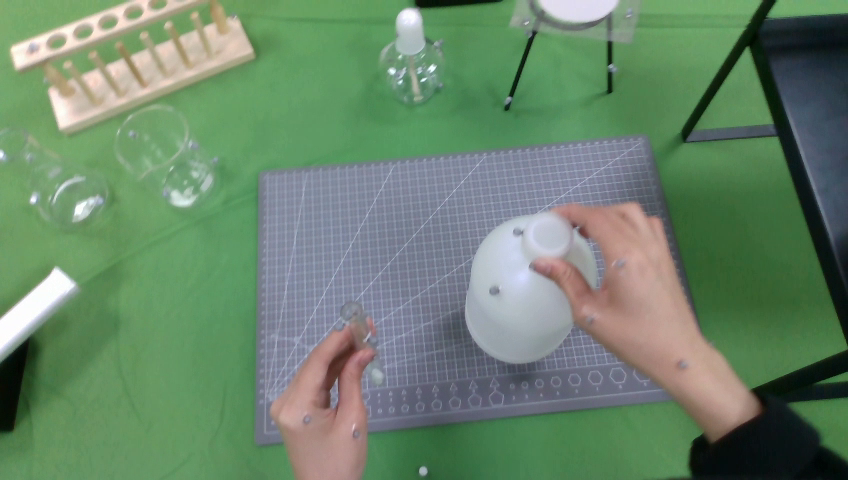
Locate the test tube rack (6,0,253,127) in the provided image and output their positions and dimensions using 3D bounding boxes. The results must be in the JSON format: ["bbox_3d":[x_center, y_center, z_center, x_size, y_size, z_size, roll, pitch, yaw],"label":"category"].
[{"bbox_3d":[-0.337,-0.227,0.712,0.242,0.086,0.066,-25,69,-9],"label":"test tube rack"}]

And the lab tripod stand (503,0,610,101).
[{"bbox_3d":[0.152,-0.233,0.679,0.148,0.132,0.147,0,67,0],"label":"lab tripod stand"}]

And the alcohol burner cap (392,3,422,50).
[{"bbox_3d":[-0.020,-0.233,0.654,0.034,0.048,0.033,0,66,1],"label":"alcohol burner cap"}]

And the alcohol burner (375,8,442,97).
[{"bbox_3d":[-0.018,-0.218,0.688,0.078,0.120,0.077,0,66,0],"label":"alcohol burner"}]

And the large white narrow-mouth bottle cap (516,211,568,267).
[{"bbox_3d":[0.084,0.000,0.434,0.038,0.024,0.037,0,68,0],"label":"large white narrow-mouth bottle cap"}]

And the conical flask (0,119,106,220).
[{"bbox_3d":[-0.397,-0.077,0.632,0.075,0.123,0.075,0,67,2],"label":"conical flask"}]

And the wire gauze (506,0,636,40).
[{"bbox_3d":[0.157,-0.261,0.617,0.121,0.011,0.124,15,70,5],"label":"wire gauze"}]

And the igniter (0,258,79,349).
[{"bbox_3d":[-0.439,0.124,0.553,0.057,0.025,0.276,37,70,13],"label":"igniter"}]

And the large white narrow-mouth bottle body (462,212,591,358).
[{"bbox_3d":[0.086,0.033,0.513,0.102,0.196,0.101,0,67,1],"label":"large white narrow-mouth bottle body"}]

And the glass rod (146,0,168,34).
[{"bbox_3d":[-0.319,-0.288,0.664,0.008,0.201,0.008,-3,62,7],"label":"glass rod"}]

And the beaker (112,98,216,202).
[{"bbox_3d":[-0.272,-0.089,0.647,0.074,0.101,0.083,9,68,5],"label":"beaker"}]

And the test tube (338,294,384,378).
[{"bbox_3d":[-0.045,0.078,0.464,0.017,0.151,0.017,-1,61,3],"label":"test tube"}]
